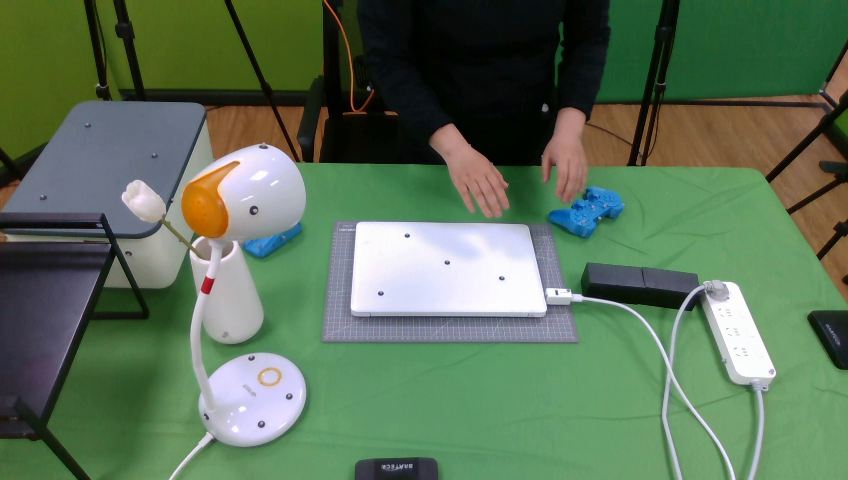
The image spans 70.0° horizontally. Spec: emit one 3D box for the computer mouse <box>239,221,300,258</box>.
[{"bbox_3d":[-0.300,-0.016,1.178,0.062,0.041,0.117,35,57,23],"label":"computer mouse"}]

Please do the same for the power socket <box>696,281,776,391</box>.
[{"bbox_3d":[0.550,0.160,1.078,0.072,0.033,0.225,2,46,-1],"label":"power socket"}]

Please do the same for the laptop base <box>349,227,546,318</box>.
[{"bbox_3d":[0.040,0.056,1.149,0.355,0.023,0.234,1,43,-4],"label":"laptop base"}]

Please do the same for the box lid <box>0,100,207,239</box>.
[{"bbox_3d":[-0.559,-0.138,1.085,0.263,0.015,0.369,2,46,-2],"label":"box lid"}]

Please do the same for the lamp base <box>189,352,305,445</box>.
[{"bbox_3d":[-0.268,0.196,0.876,0.160,0.181,0.179,26,52,20],"label":"lamp base"}]

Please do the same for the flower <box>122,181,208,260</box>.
[{"bbox_3d":[-0.329,0.029,0.905,0.038,0.364,0.044,-22,58,-1],"label":"flower"}]

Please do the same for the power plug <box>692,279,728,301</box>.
[{"bbox_3d":[0.522,0.092,1.115,0.072,0.053,0.035,9,46,7],"label":"power plug"}]

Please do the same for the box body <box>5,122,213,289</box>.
[{"bbox_3d":[-0.563,-0.087,1.140,0.254,0.161,0.361,2,46,-3],"label":"box body"}]

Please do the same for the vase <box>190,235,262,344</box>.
[{"bbox_3d":[-0.317,0.081,0.971,0.098,0.201,0.097,3,47,-3],"label":"vase"}]

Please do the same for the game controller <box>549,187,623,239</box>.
[{"bbox_3d":[0.345,-0.065,1.272,0.155,0.052,0.096,-31,59,-28],"label":"game controller"}]

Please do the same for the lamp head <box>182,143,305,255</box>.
[{"bbox_3d":[-0.216,-0.044,0.697,0.112,0.113,0.123,23,31,17],"label":"lamp head"}]

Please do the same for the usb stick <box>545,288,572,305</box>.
[{"bbox_3d":[0.236,0.103,1.101,0.059,0.027,0.021,0,49,1],"label":"usb stick"}]

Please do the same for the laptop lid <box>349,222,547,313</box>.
[{"bbox_3d":[0.041,0.046,1.143,0.357,0.013,0.240,2,44,-3],"label":"laptop lid"}]
